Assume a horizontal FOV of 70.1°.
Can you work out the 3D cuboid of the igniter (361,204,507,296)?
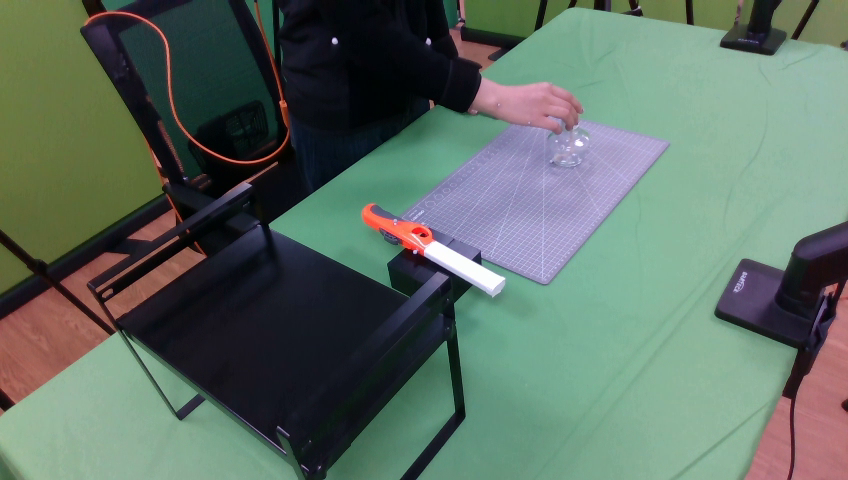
[{"bbox_3d":[0.003,0.008,0.889,0.274,0.025,0.057,29,49,33],"label":"igniter"}]

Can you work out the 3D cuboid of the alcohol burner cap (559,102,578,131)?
[{"bbox_3d":[0.255,-0.220,1.065,0.034,0.048,0.033,-4,42,4],"label":"alcohol burner cap"}]

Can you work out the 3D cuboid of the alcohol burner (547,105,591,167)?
[{"bbox_3d":[0.261,-0.192,1.087,0.078,0.119,0.077,-5,42,5],"label":"alcohol burner"}]
